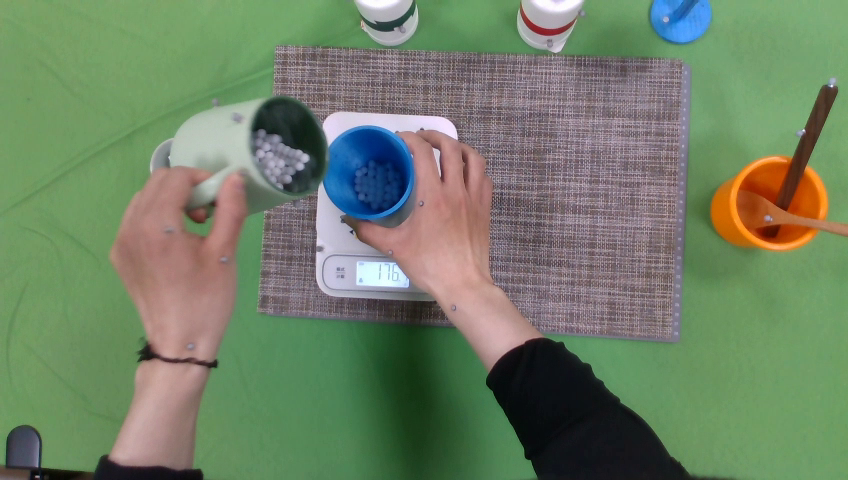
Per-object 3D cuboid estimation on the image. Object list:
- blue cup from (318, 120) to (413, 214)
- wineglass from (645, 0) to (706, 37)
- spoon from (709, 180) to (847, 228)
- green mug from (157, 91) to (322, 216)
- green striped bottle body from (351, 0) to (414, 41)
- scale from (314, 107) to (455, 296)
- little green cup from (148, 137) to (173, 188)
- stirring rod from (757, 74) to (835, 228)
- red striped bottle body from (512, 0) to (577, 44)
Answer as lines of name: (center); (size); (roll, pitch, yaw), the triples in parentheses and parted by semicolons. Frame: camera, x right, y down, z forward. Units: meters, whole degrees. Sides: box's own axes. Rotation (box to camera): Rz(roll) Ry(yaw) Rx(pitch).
blue cup: (-0.051, -0.064, 0.590); (0.092, 0.100, 0.092); (0, 89, 1)
wineglass: (0.267, -0.258, 0.576); (0.073, 0.172, 0.073); (0, 87, 4)
spoon: (0.366, -0.023, 0.574); (0.022, 0.192, 0.041); (12, 97, -39)
green mug: (-0.155, -0.060, 0.481); (0.104, 0.125, 0.093); (-8, 120, 40)
green striped bottle body: (-0.045, -0.255, 0.622); (0.063, 0.119, 0.063); (0, 87, 4)
scale: (-0.043, -0.042, 0.653); (0.148, 0.031, 0.200); (2, 88, 4)
little green cup: (-0.265, -0.081, 0.668); (0.061, 0.038, 0.061); (0, 88, 2)
stirring rod: (0.350, -0.077, 0.576); (0.014, 0.178, 0.006); (12, 48, 18)
red striped bottle body: (0.124, -0.249, 0.611); (0.063, 0.120, 0.063); (0, 87, 3)
